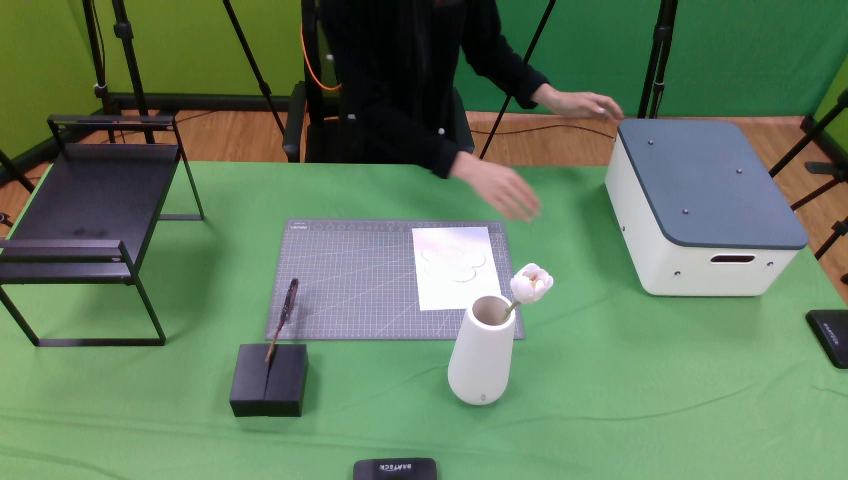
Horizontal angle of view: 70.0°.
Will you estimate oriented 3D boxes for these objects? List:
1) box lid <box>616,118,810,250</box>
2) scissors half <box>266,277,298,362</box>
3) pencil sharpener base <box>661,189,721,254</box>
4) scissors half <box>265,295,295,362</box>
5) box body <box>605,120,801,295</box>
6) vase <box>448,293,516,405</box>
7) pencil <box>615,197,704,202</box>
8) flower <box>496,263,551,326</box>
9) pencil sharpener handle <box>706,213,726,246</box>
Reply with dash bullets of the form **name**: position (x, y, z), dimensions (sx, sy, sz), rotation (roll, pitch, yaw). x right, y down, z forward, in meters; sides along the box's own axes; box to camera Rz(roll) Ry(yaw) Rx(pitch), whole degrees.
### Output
- **box lid**: position (0.533, -0.118, 1.151), dimensions (0.263, 0.015, 0.369), rotation (1, 46, -4)
- **scissors half**: position (-0.234, 0.127, 0.993), dimensions (0.013, 0.040, 0.174), rotation (12, 46, -4)
- **pencil sharpener base**: position (0.531, -0.034, 1.202), dimensions (0.076, 0.107, 0.061), rotation (30, 51, 21)
- **scissors half**: position (-0.239, 0.143, 1.005), dimensions (0.013, 0.040, 0.174), rotation (17, 28, -7)
- **box body**: position (0.529, -0.068, 1.205), dimensions (0.254, 0.161, 0.361), rotation (1, 46, -4)
- **vase**: position (0.091, 0.169, 0.921), dimensions (0.098, 0.201, 0.097), rotation (3, 47, -3)
- **pencil**: position (0.512, -0.090, 1.322), dimensions (0.194, 0.012, 0.012), rotation (1, 46, 0)
- **flower**: position (0.102, 0.120, 0.853), dimensions (0.044, 0.363, 0.038), rotation (-2, 64, -10)
- **pencil sharpener handle**: position (0.572, -0.019, 1.174), dimensions (0.030, 0.068, 0.036), rotation (30, 48, 21)
